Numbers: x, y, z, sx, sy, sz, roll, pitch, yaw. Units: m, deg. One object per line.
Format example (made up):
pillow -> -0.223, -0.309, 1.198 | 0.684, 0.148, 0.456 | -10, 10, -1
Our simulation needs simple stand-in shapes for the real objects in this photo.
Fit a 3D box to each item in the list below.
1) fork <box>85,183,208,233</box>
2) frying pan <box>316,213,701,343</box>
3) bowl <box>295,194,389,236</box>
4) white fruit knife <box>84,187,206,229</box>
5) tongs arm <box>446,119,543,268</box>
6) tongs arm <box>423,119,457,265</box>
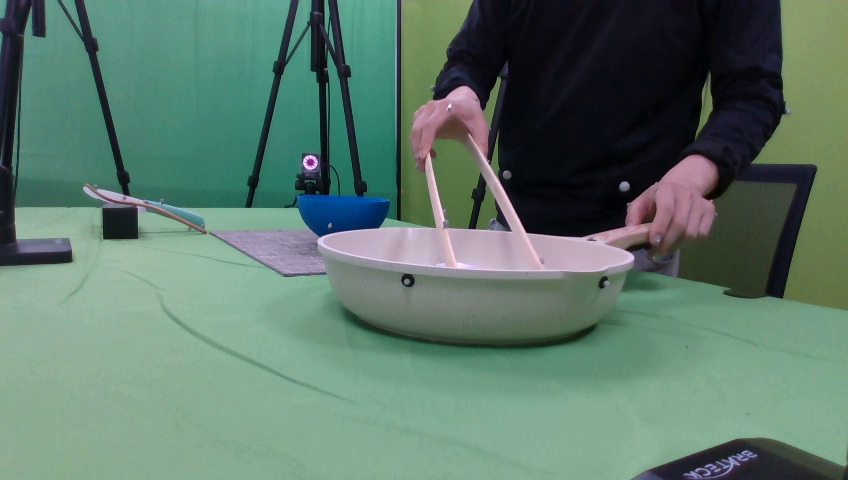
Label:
fork -> -0.462, -0.051, 1.020 | 0.208, 0.018, 0.028 | 22, -8, -37
frying pan -> 0.133, 0.013, 0.629 | 0.490, 0.102, 0.305 | -12, 14, -30
bowl -> -0.133, -0.032, 0.981 | 0.151, 0.077, 0.151 | 2, 7, 0
white fruit knife -> -0.488, -0.059, 1.071 | 0.208, 0.027, 0.016 | 17, 3, -33
tongs arm -> 0.077, -0.050, 0.686 | 0.028, 0.028, 0.386 | -8, 35, -7
tongs arm -> 0.030, -0.049, 0.680 | 0.051, 0.026, 0.383 | -4, 34, -6
